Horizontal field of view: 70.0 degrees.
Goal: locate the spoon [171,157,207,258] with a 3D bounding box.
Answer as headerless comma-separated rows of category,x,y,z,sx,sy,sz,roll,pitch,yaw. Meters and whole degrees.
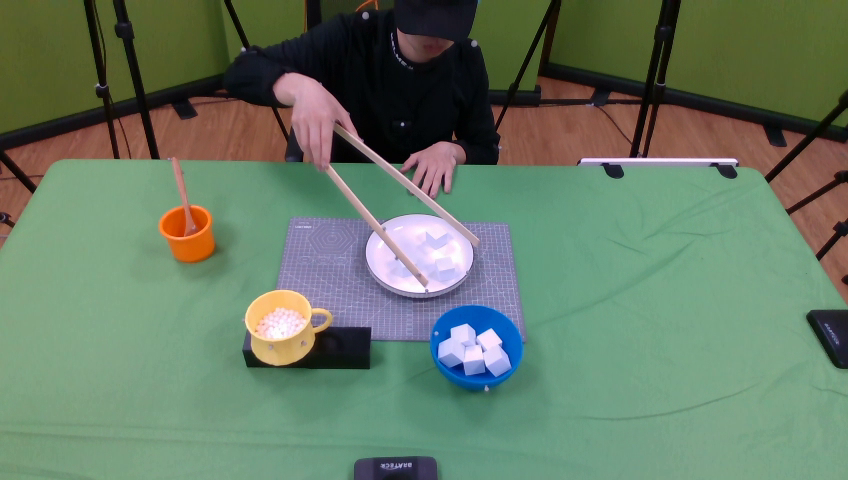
spoon,-0.444,-0.061,1.133,0.042,0.194,0.021,-12,4,-19

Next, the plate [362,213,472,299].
plate,-0.014,0.034,1.150,0.208,0.039,0.206,3,46,-2

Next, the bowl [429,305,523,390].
bowl,0.080,0.188,0.985,0.151,0.077,0.150,3,46,-3

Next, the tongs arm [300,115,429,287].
tongs arm,-0.104,-0.073,1.038,0.051,0.026,0.383,-35,72,-25

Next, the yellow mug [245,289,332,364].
yellow mug,-0.210,0.133,0.954,0.131,0.064,0.099,-9,48,-14

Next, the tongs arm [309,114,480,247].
tongs arm,-0.056,-0.109,1.069,0.386,0.028,0.028,39,65,12
